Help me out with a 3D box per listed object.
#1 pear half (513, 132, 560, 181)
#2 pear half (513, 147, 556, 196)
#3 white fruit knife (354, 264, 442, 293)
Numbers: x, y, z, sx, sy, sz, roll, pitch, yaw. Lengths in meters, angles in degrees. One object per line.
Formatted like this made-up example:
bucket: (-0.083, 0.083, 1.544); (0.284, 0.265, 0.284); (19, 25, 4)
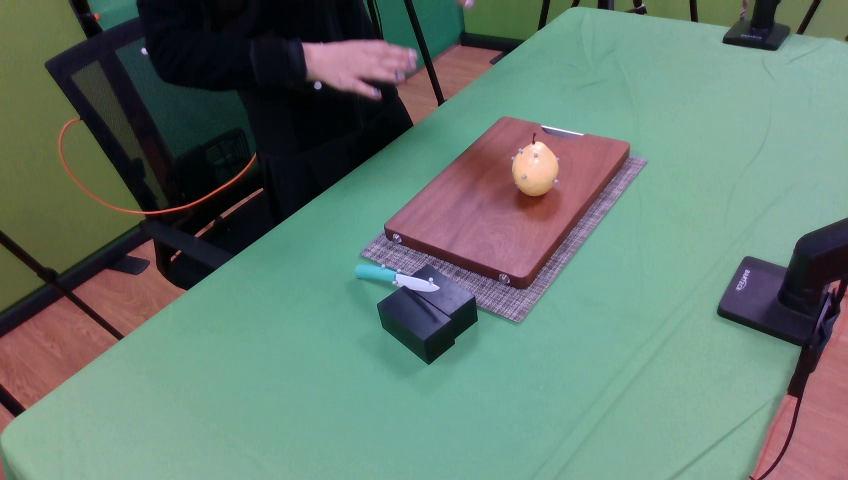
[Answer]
pear half: (0.186, -0.136, 0.996); (0.076, 0.110, 0.056); (6, 42, 13)
pear half: (0.178, -0.105, 0.977); (0.070, 0.088, 0.031); (7, 42, 12)
white fruit knife: (-0.041, 0.055, 0.867); (0.016, 0.027, 0.205); (-32, 23, -34)
